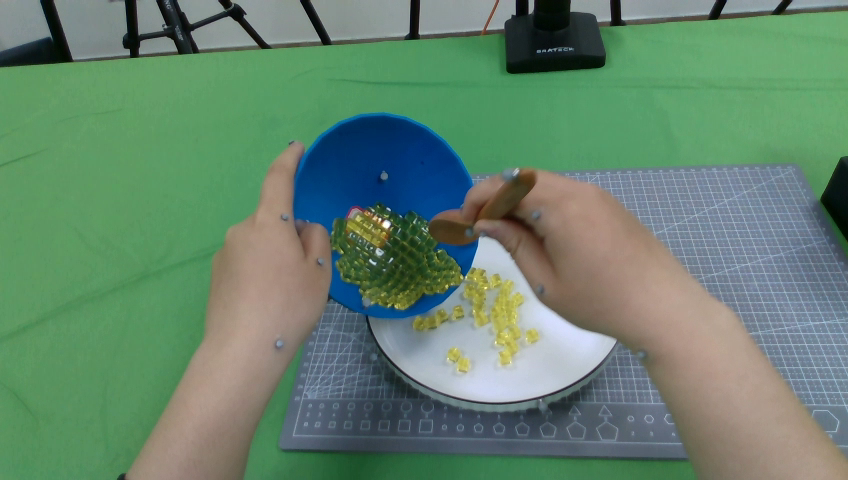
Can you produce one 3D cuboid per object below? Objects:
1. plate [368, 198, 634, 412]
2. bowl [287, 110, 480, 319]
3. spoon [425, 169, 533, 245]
[{"bbox_3d":[0.059,0.048,0.490,0.207,0.039,0.205,-4,47,4],"label":"plate"},{"bbox_3d":[-0.039,-0.015,0.466,0.151,0.152,0.076,-39,13,-26],"label":"bowl"},{"bbox_3d":[0.033,-0.015,0.367,0.042,0.193,0.021,11,84,-8],"label":"spoon"}]
